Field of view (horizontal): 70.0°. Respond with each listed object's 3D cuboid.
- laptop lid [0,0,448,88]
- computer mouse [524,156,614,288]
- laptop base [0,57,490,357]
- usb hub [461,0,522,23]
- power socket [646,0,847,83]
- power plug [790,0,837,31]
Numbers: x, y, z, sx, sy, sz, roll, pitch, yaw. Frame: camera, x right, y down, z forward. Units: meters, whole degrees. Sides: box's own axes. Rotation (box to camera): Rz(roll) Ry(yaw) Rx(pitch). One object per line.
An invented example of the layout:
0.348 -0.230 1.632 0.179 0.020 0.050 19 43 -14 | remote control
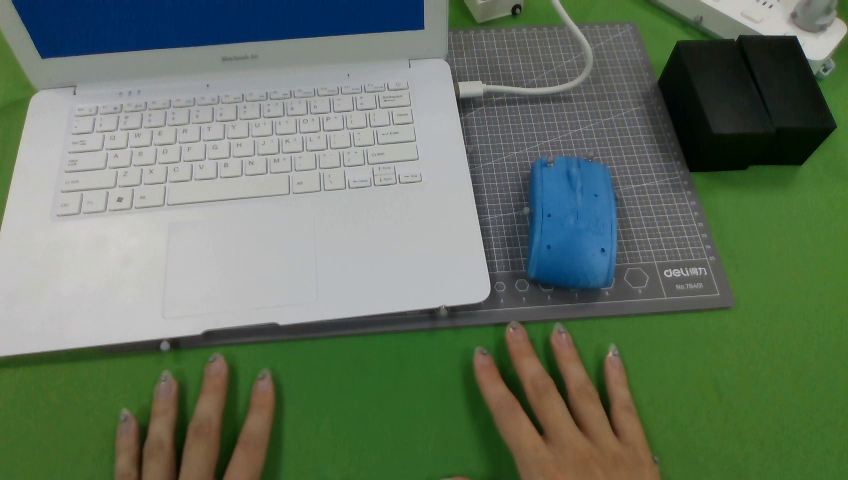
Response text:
-0.157 -0.221 0.440 0.357 0.244 0.013 -7 48 -3 | laptop lid
0.109 -0.019 0.454 0.063 0.041 0.116 7 56 5 | computer mouse
-0.140 -0.038 0.473 0.355 0.023 0.233 -6 65 -4 | laptop base
0.048 -0.269 0.602 0.049 0.025 0.124 -19 63 -12 | usb hub
0.291 -0.228 0.582 0.225 0.033 0.072 39 66 19 | power socket
0.365 -0.213 0.550 0.072 0.053 0.035 -34 65 -17 | power plug
